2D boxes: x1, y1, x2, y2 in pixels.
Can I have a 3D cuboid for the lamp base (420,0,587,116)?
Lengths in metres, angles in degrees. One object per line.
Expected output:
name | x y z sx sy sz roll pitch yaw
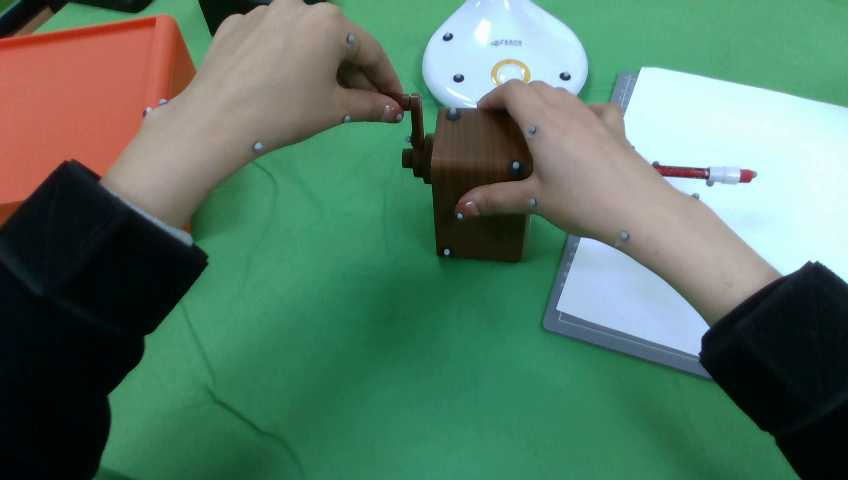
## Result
lamp base | 0.071 -0.229 0.537 0.161 0.182 0.177 -10 51 -5

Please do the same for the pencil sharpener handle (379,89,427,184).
pencil sharpener handle | -0.013 -0.071 0.416 0.030 0.068 0.035 2 36 6

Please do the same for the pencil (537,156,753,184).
pencil | 0.123 -0.050 0.414 0.194 0.012 0.012 5 54 4

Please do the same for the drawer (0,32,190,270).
drawer | -0.301 -0.083 0.509 0.195 0.074 0.209 -11 53 -4

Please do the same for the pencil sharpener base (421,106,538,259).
pencil sharpener base | 0.040 -0.040 0.443 0.076 0.108 0.061 2 53 5

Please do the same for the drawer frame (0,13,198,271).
drawer frame | -0.304 -0.085 0.509 0.202 0.083 0.211 -11 53 -4
